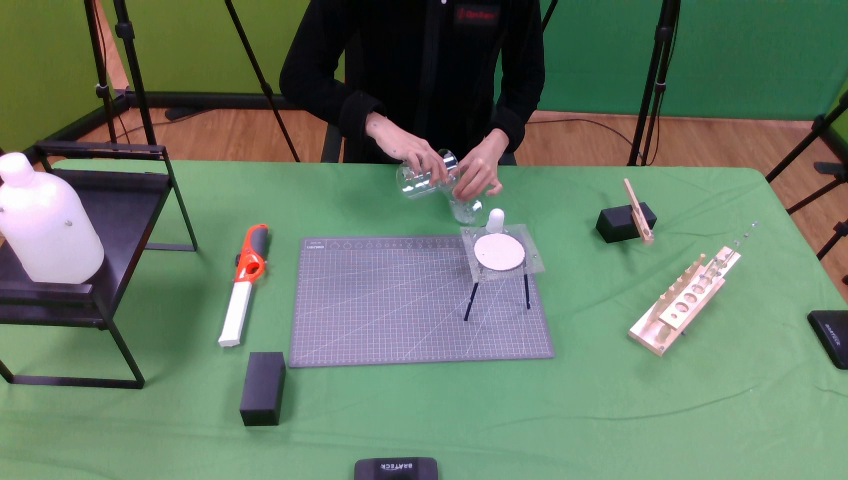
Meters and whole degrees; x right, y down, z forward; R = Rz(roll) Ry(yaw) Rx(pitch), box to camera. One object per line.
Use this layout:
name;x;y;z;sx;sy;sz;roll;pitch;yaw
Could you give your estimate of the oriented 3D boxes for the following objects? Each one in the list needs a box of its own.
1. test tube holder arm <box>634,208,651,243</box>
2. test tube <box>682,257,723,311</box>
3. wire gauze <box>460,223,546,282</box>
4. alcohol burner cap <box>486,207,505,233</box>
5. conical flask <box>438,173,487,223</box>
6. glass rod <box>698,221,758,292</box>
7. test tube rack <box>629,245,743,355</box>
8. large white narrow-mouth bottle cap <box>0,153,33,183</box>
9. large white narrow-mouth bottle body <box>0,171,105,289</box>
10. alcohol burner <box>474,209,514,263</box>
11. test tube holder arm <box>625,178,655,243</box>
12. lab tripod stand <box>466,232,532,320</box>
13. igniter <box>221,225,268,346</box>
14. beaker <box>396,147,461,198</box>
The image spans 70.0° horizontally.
test tube holder arm;0.428;-0.030;1.189;0.010;0.015;0.087;1;47;-2
test tube;0.475;0.080;1.037;0.017;0.151;0.017;1;50;-1
wire gauze;0.131;0.016;1.015;0.121;0.011;0.124;-5;45;-8
alcohol burner cap;0.135;-0.039;1.125;0.034;0.048;0.033;4;42;-4
conical flask;0.071;-0.088;1.207;0.075;0.122;0.075;-13;62;25
glass rod;0.527;0.035;1.059;0.008;0.200;0.008;5;49;-6
test tube rack;0.474;0.095;1.091;0.242;0.085;0.066;-34;56;-31
large white narrow-mouth bottle cap;-0.510;-0.090;0.754;0.038;0.024;0.037;2;46;-2
large white narrow-mouth bottle body;-0.513;-0.029;0.818;0.102;0.195;0.101;2;46;-2
alcohol burner;0.134;-0.013;1.150;0.078;0.120;0.077;0;47;0
test tube holder arm;0.433;-0.062;1.220;0.013;0.015;0.177;1;47;-3
lab tripod stand;0.125;0.059;1.065;0.148;0.132;0.147;1;45;0
igniter;-0.323;0.072;1.100;0.057;0.025;0.274;-6;45;5
beaker;0.006;-0.120;1.114;0.100;0.084;0.073;-21;51;-30
